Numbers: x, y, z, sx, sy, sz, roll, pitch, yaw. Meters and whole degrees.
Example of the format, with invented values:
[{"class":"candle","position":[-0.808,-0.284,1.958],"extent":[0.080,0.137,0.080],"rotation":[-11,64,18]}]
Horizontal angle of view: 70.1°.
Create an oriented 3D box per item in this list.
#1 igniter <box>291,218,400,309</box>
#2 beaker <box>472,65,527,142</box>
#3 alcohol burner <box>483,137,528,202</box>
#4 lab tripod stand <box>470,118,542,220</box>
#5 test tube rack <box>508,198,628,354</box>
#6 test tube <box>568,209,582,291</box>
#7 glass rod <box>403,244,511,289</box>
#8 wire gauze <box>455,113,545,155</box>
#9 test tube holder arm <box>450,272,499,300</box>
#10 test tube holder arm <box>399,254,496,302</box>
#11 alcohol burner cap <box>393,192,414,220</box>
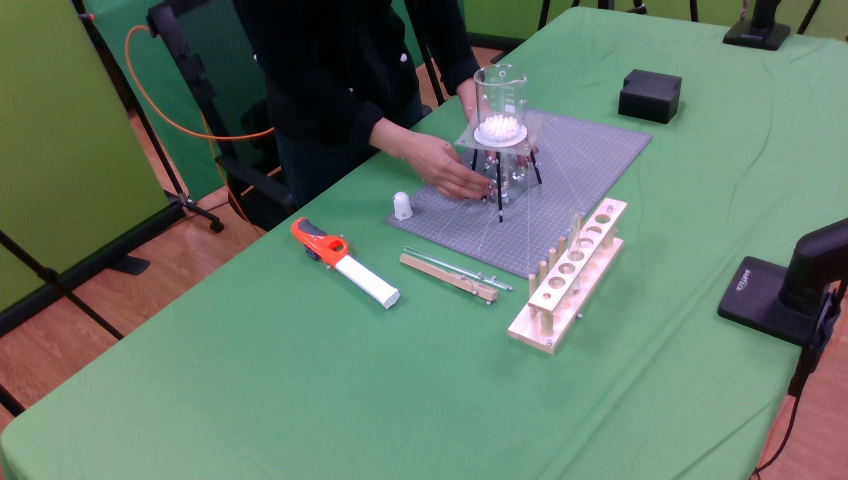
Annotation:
[{"class":"igniter","position":[-0.136,0.031,0.970],"extent":[0.057,0.025,0.274],"rotation":[-41,49,-19]},{"class":"beaker","position":[0.120,-0.211,0.942],"extent":[0.083,0.101,0.074],"rotation":[10,42,21]},{"class":"alcohol burner","position":[0.138,-0.125,1.029],"extent":[0.078,0.119,0.077],"rotation":[-4,41,4]},{"class":"lab tripod stand","position":[0.135,-0.128,1.019],"extent":[0.148,0.132,0.147],"rotation":[-5,38,5]},{"class":"test tube rack","position":[0.206,0.039,0.850],"extent":[0.066,0.085,0.243],"rotation":[20,48,31]},{"class":"test tube","position":[0.200,0.017,0.799],"extent":[0.017,0.151,0.017],"rotation":[-8,45,8]},{"class":"glass rod","position":[0.047,0.039,0.938],"extent":[0.198,0.008,0.008],"rotation":[21,49,30]},{"class":"wire gauze","position":[0.124,-0.175,0.973],"extent":[0.124,0.011,0.121],"rotation":[8,39,21]},{"class":"test tube holder arm","position":[0.071,0.068,0.894],"extent":[0.087,0.015,0.010],"rotation":[21,15,33]},{"class":"test tube holder arm","position":[0.032,0.055,0.914],"extent":[0.177,0.015,0.013],"rotation":[21,15,32]},{"class":"alcohol burner cap","position":[-0.038,-0.061,1.044],"extent":[0.034,0.048,0.033],"rotation":[-5,40,5]}]
